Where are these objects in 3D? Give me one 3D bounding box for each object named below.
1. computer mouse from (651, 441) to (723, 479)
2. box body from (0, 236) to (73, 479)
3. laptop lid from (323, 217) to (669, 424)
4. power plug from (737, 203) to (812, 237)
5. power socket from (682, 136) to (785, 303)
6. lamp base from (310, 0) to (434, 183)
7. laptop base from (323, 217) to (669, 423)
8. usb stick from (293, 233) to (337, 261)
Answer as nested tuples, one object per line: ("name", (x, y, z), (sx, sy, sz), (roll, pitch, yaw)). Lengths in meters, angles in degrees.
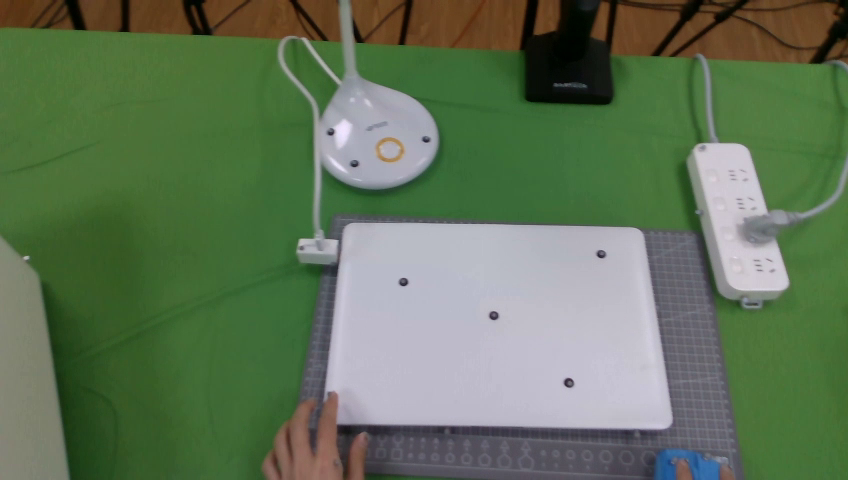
("computer mouse", (0.245, 0.248, 0.565), (0.062, 0.041, 0.116), (13, 60, 8))
("box body", (-0.485, 0.166, 0.537), (0.254, 0.161, 0.360), (-22, 63, -12))
("laptop lid", (0.074, 0.079, 0.658), (0.357, 0.013, 0.239), (2, 63, 1))
("power plug", (0.397, -0.017, 0.693), (0.072, 0.053, 0.035), (10, 60, 4))
("power socket", (0.368, -0.034, 0.728), (0.072, 0.033, 0.224), (1, 60, -1))
("lamp base", (-0.076, -0.187, 0.728), (0.160, 0.182, 0.177), (-33, 63, -17))
("laptop base", (0.075, 0.082, 0.669), (0.354, 0.023, 0.233), (1, 64, 0))
("usb stick", (-0.118, 0.008, 0.695), (0.059, 0.027, 0.021), (6, 55, -1))
